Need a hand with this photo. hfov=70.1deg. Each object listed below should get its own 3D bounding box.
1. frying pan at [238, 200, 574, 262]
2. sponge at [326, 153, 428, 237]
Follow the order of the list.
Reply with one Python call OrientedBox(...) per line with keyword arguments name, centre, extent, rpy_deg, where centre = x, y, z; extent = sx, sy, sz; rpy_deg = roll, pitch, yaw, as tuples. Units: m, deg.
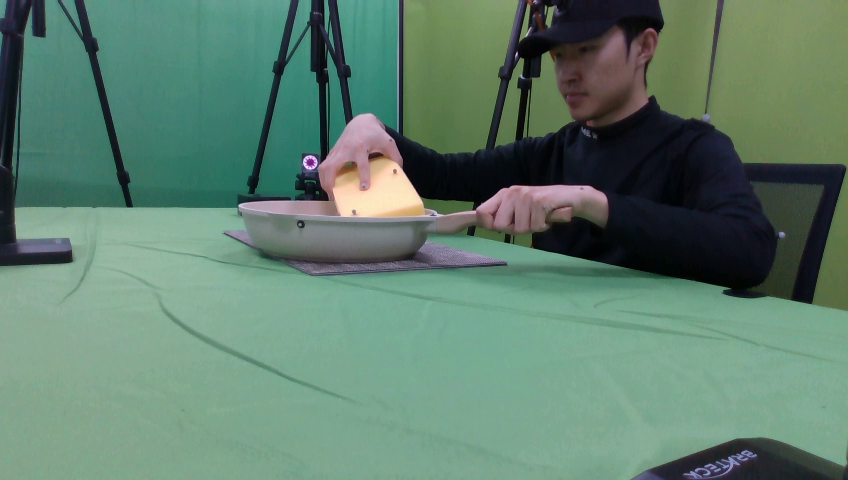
OrientedBox(name="frying pan", centre=(-0.033, -0.026, 0.867), extent=(0.486, 0.102, 0.308), rpy_deg=(-4, 5, 24))
OrientedBox(name="sponge", centre=(-0.079, -0.062, 0.950), extent=(0.118, 0.061, 0.206), rpy_deg=(-15, 32, -9))
